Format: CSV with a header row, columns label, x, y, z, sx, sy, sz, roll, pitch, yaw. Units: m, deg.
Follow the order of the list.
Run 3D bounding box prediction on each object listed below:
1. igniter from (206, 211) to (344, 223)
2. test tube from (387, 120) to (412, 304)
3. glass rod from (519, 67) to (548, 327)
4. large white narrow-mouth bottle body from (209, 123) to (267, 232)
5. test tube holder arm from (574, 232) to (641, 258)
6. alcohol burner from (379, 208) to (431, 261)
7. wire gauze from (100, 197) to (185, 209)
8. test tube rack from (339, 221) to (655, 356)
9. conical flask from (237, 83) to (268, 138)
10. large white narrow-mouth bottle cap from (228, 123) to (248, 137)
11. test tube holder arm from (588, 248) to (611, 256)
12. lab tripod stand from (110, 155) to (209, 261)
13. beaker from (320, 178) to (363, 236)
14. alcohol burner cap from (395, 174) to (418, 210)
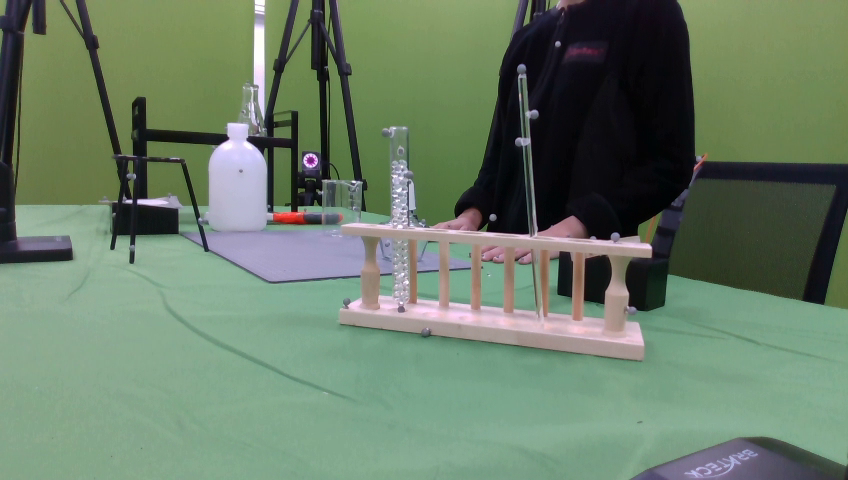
label,x,y,z,sx,sy,sz,roll,pitch,yaw
igniter,-0.302,-0.048,1.249,0.278,0.025,0.057,-2,-2,-26
test tube,-0.019,-0.021,0.488,0.017,0.150,0.017,-1,13,1
glass rod,0.084,-0.029,0.459,0.008,0.199,0.008,-7,11,2
large white narrow-mouth bottle body,-0.340,-0.115,1.109,0.102,0.194,0.102,2,8,0
test tube holder arm,0.202,0.003,0.651,0.013,0.015,0.179,-3,2,36
alcohol burner,-0.027,-0.031,0.838,0.078,0.119,0.078,0,6,0
wire gauze,-0.469,-0.062,1.008,0.126,0.011,0.121,-2,8,-25
test tube rack,0.056,0.032,0.495,0.242,0.085,0.067,4,7,15
conical flask,-0.402,-0.299,1.406,0.075,0.122,0.075,2,7,0
large white narrow-mouth bottle cap,-0.338,-0.199,1.097,0.038,0.024,0.037,2,8,0
test tube holder arm,0.180,0.006,0.611,0.010,0.015,0.088,-3,2,36
lab tripod stand,-0.361,-0.046,0.806,0.148,0.131,0.148,2,5,0
beaker,-0.145,-0.059,1.078,0.074,0.100,0.083,-4,10,-36
alcohol burner cap,-0.026,-0.067,0.834,0.034,0.048,0.034,-1,12,1
